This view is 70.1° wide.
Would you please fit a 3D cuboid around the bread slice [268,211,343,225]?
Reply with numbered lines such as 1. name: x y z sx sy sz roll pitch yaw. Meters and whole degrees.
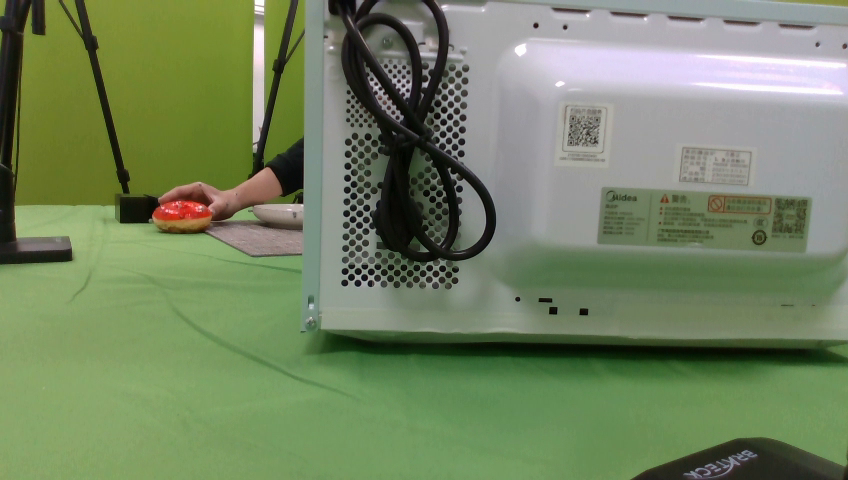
1. bread slice: -0.244 -0.046 1.220 0.104 0.019 0.132 7 8 36

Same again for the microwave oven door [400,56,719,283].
1. microwave oven door: 0.155 -0.077 0.697 0.356 0.243 0.039 2 8 -5

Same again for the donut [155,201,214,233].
1. donut: -0.424 -0.042 1.074 0.099 0.048 0.099 4 18 -1

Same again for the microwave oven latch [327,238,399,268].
1. microwave oven latch: -0.069 0.014 0.694 0.079 0.029 0.030 3 7 -2

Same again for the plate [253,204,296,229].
1. plate: -0.238 -0.047 1.226 0.208 0.039 0.207 3 7 0

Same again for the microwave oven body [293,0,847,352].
1. microwave oven body: 0.122 -0.055 0.550 0.442 0.260 0.325 3 7 -5
